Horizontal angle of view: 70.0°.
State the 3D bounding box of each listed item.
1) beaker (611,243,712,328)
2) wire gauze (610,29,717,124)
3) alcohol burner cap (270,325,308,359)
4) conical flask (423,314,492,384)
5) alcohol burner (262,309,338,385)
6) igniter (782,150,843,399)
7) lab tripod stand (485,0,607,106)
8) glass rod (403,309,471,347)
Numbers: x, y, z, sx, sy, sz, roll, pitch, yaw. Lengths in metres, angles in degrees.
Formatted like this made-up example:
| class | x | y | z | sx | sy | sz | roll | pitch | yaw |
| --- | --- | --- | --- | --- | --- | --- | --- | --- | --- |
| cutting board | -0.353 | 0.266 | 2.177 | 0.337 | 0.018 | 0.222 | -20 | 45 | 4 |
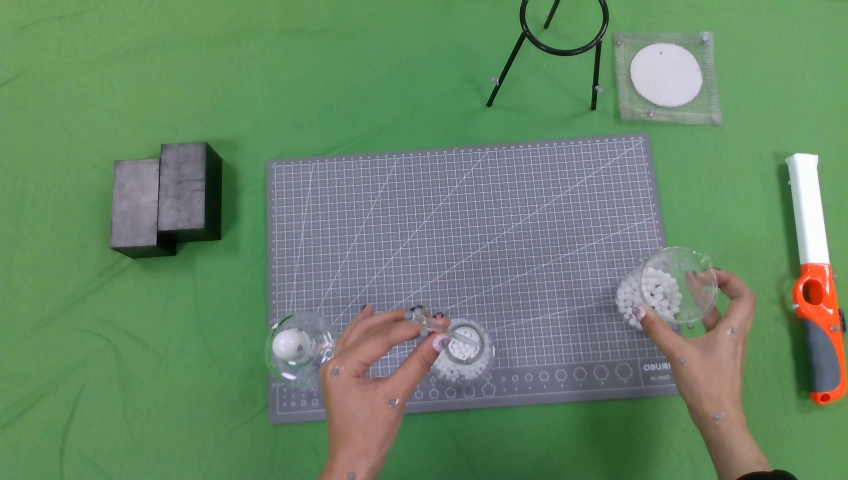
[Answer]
| class | x | y | z | sx | sy | sz | roll | pitch | yaw |
| --- | --- | --- | --- | --- | --- | --- | --- | --- | --- |
| beaker | 0.240 | 0.049 | 0.622 | 0.084 | 0.101 | 0.073 | -39 | 78 | -9 |
| wire gauze | 0.289 | -0.200 | 0.732 | 0.125 | 0.011 | 0.121 | 2 | 77 | -1 |
| alcohol burner cap | -0.129 | 0.096 | 0.573 | 0.034 | 0.048 | 0.033 | 1 | 80 | -3 |
| conical flask | 0.035 | 0.105 | 0.602 | 0.075 | 0.122 | 0.075 | 0 | 76 | 1 |
| alcohol burner | -0.129 | 0.105 | 0.608 | 0.078 | 0.119 | 0.077 | -1 | 76 | 3 |
| igniter | 0.426 | 0.034 | 0.666 | 0.057 | 0.025 | 0.275 | 4 | 77 | -9 |
| lab tripod stand | 0.137 | -0.212 | 0.672 | 0.148 | 0.132 | 0.147 | 0 | 79 | 1 |
| glass rod | 0.015 | 0.072 | 0.482 | 0.008 | 0.201 | 0.008 | -4 | 74 | 15 |
